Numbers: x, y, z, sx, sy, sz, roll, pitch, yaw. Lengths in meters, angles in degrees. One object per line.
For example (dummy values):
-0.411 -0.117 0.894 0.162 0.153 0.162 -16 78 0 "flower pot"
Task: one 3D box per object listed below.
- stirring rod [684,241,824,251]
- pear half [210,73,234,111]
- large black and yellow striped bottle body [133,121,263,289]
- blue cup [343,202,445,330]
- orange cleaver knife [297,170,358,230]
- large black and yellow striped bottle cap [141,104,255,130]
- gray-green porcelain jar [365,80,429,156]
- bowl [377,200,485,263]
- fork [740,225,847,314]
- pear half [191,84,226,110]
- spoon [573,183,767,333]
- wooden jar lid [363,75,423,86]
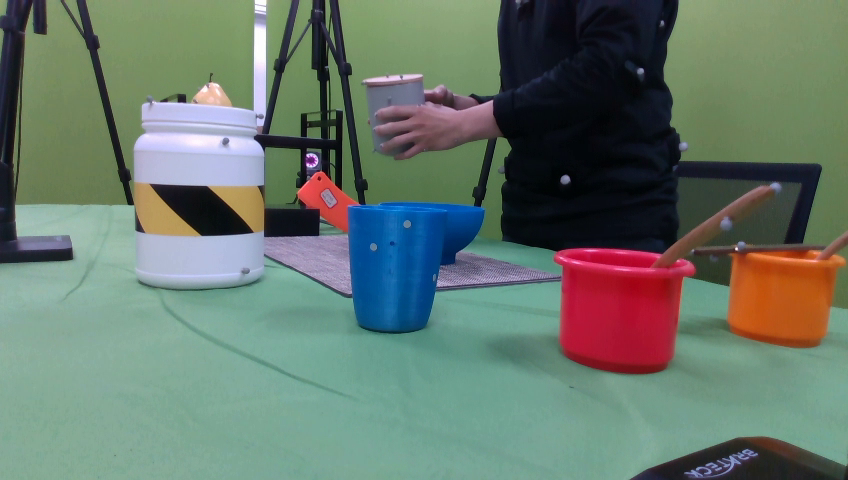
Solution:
0.289 0.005 0.525 0.177 0.006 0.014 -1 5 -26 "stirring rod"
-0.402 -0.262 1.162 0.076 0.109 0.056 6 7 2 "pear half"
-0.243 -0.048 0.659 0.131 0.184 0.130 2 7 0 "large black and yellow striped bottle body"
-0.027 0.021 0.510 0.093 0.100 0.092 3 5 0 "blue cup"
-0.149 -0.058 1.170 0.212 0.077 0.012 33 -15 -32 "orange cleaver knife"
-0.241 -0.131 0.650 0.115 0.019 0.115 3 8 0 "large black and yellow striped bottle cap"
-0.047 -0.223 1.105 0.106 0.126 0.106 -6 18 2 "gray-green porcelain jar"
0.008 -0.012 0.842 0.151 0.077 0.151 2 7 0 "bowl"
0.323 0.013 0.485 0.028 0.018 0.207 9 -38 -5 "fork"
-0.406 -0.248 1.128 0.070 0.088 0.031 6 7 2 "pear half"
0.158 0.020 0.412 0.042 0.021 0.193 -2 -35 -21 "spoon"
-0.054 -0.282 1.086 0.108 0.021 0.108 -5 20 2 "wooden jar lid"
